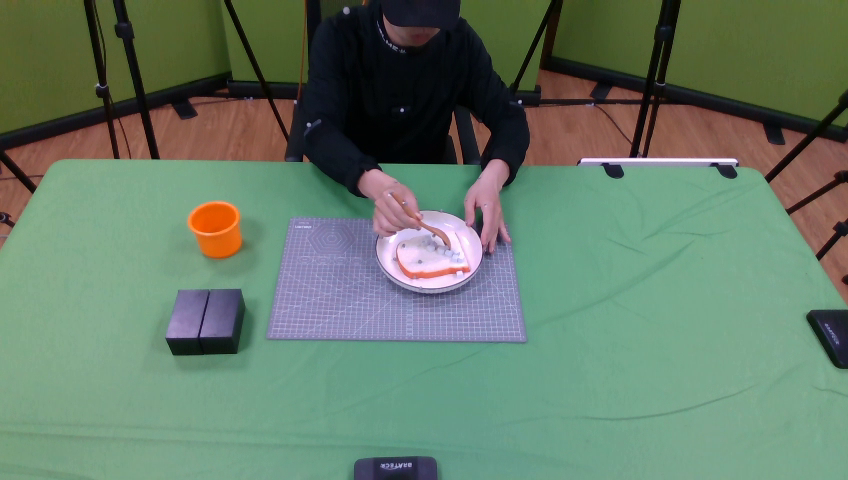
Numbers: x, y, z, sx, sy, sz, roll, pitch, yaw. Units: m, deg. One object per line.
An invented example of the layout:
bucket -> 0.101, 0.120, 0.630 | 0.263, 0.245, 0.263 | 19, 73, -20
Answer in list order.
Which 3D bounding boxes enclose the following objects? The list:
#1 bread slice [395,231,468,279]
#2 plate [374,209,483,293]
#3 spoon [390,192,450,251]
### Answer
bread slice -> 0.011, 0.030, 1.159 | 0.132, 0.019, 0.104 | -8, 47, -14
plate -> 0.008, 0.024, 1.160 | 0.209, 0.038, 0.208 | 2, 46, -2
spoon -> -0.005, -0.032, 1.091 | 0.021, 0.195, 0.041 | -42, 45, 11
